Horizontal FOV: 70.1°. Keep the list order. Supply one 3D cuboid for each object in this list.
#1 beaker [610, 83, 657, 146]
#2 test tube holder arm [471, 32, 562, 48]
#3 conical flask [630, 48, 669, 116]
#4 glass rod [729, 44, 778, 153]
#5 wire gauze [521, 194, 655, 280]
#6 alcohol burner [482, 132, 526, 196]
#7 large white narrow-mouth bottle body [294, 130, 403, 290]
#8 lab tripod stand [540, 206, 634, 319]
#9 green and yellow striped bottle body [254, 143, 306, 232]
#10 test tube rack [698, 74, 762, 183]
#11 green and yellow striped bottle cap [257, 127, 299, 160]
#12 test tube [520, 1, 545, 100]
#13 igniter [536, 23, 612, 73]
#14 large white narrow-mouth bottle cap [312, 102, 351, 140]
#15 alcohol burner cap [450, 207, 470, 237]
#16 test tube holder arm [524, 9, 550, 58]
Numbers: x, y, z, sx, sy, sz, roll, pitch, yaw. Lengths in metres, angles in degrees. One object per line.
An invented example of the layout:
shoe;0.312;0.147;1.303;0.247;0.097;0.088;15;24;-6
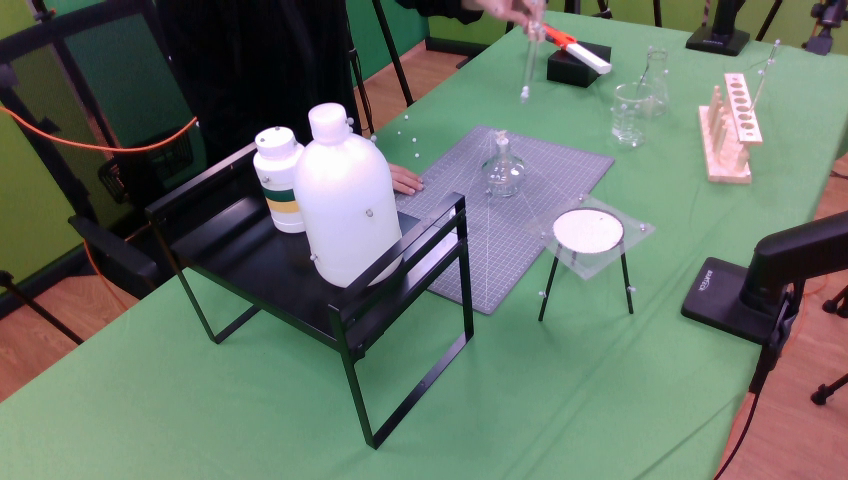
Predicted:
beaker;0.388;-0.235;1.138;0.074;0.101;0.083;-31;45;-25
test tube holder arm;0.149;-0.327;0.994;0.177;0.013;0.015;14;43;44
conical flask;0.457;-0.317;1.205;0.075;0.122;0.075;-4;41;4
glass rod;0.554;-0.233;1.020;0.008;0.200;0.008;2;39;-1
wire gauze;0.207;-0.012;0.772;0.122;0.011;0.124;-28;44;-20
alcohol burner;0.137;-0.136;1.042;0.078;0.119;0.077;-4;43;4
large white narrow-mouth bottle body;-0.082;-0.047;0.634;0.102;0.195;0.101;-4;39;4
lab tripod stand;0.218;0.034;0.821;0.148;0.132;0.147;-4;42;4
green and yellow striped bottle body;-0.165;-0.073;0.732;0.063;0.120;0.063;-4;41;4
test tube rack;0.547;-0.208;1.095;0.066;0.085;0.242;5;42;15
green and yellow striped bottle cap;-0.169;-0.112;0.699;0.045;0.020;0.045;-6;40;6
test tube;0.169;-0.296;0.952;0.017;0.150;0.017;5;27;-2
igniter;0.330;-0.439;1.366;0.057;0.025;0.274;-12;40;-20
large white narrow-mouth bottle cap;-0.089;-0.114;0.579;0.038;0.024;0.037;-3;39;3
alcohol burner cap;0.057;-0.032;0.987;0.034;0.048;0.033;-5;41;5
test tube holder arm;0.176;-0.327;0.961;0.015;0.088;0.010;-35;74;-32
